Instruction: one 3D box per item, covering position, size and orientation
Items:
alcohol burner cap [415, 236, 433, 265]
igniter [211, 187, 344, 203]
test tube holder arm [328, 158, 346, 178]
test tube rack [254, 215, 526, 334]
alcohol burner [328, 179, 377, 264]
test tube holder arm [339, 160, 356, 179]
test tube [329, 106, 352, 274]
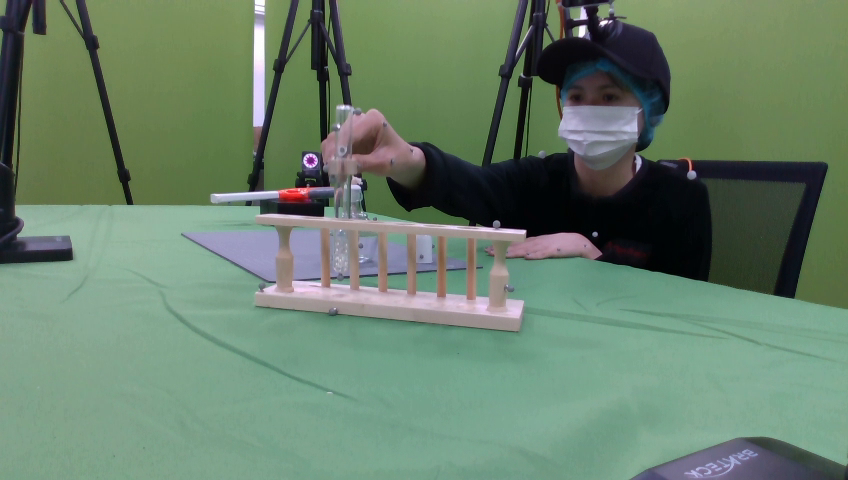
[{"bbox_3d":[-0.003,0.011,0.835,0.034,0.048,0.034,2,7,0],"label":"alcohol burner cap"},{"bbox_3d":[-0.300,-0.094,1.266,0.278,0.025,0.057,-6,12,-34],"label":"igniter"},{"bbox_3d":[-0.086,-0.074,0.606,0.013,0.015,0.178,8,8,-8],"label":"test tube holder arm"},{"bbox_3d":[-0.030,0.025,0.558,0.242,0.085,0.067,4,7,12],"label":"test tube rack"},{"bbox_3d":[-0.098,-0.028,0.819,0.078,0.119,0.078,1,8,0],"label":"alcohol burner"},{"bbox_3d":[-0.073,-0.066,0.563,0.010,0.015,0.087,6,8,-15],"label":"test tube holder arm"},{"bbox_3d":[-0.075,-0.043,0.542,0.017,0.150,0.017,3,6,0],"label":"test tube"}]
